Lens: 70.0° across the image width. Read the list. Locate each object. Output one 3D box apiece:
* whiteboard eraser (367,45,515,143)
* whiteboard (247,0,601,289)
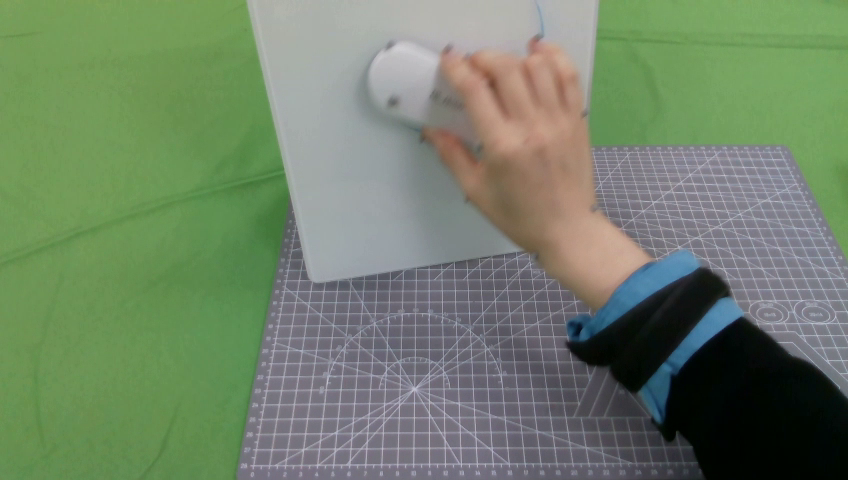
[{"bbox_3d":[0.012,-0.093,0.392,0.102,0.041,0.018,16,27,-21],"label":"whiteboard eraser"},{"bbox_3d":[-0.002,-0.143,0.446,0.217,0.308,0.142,-9,33,-6],"label":"whiteboard"}]
